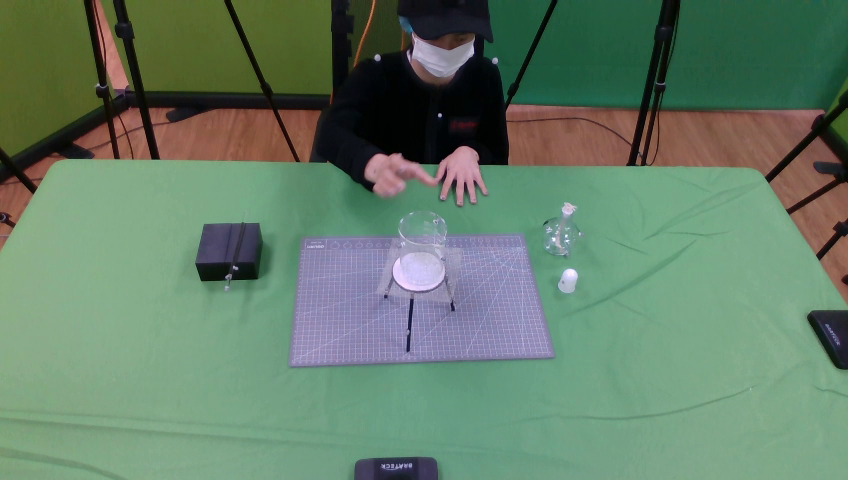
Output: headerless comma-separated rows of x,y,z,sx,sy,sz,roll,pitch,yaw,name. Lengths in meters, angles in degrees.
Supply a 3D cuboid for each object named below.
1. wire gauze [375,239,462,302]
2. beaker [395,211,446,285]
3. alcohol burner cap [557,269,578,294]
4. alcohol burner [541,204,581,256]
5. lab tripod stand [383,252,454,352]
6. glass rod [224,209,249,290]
-0.006,0.049,0.977,0.121,0.011,0.124,10,44,5,wire gauze
-0.002,0.016,0.941,0.083,0.101,0.074,36,55,29,beaker
0.270,0.074,1.135,0.034,0.048,0.033,3,46,-2,alcohol burner cap
0.271,-0.026,1.182,0.078,0.119,0.077,4,46,-3,alcohol burner
-0.015,0.094,1.025,0.148,0.132,0.147,1,46,-1,lab tripod stand
-0.340,0.013,1.102,0.008,0.008,0.198,2,45,-3,glass rod
